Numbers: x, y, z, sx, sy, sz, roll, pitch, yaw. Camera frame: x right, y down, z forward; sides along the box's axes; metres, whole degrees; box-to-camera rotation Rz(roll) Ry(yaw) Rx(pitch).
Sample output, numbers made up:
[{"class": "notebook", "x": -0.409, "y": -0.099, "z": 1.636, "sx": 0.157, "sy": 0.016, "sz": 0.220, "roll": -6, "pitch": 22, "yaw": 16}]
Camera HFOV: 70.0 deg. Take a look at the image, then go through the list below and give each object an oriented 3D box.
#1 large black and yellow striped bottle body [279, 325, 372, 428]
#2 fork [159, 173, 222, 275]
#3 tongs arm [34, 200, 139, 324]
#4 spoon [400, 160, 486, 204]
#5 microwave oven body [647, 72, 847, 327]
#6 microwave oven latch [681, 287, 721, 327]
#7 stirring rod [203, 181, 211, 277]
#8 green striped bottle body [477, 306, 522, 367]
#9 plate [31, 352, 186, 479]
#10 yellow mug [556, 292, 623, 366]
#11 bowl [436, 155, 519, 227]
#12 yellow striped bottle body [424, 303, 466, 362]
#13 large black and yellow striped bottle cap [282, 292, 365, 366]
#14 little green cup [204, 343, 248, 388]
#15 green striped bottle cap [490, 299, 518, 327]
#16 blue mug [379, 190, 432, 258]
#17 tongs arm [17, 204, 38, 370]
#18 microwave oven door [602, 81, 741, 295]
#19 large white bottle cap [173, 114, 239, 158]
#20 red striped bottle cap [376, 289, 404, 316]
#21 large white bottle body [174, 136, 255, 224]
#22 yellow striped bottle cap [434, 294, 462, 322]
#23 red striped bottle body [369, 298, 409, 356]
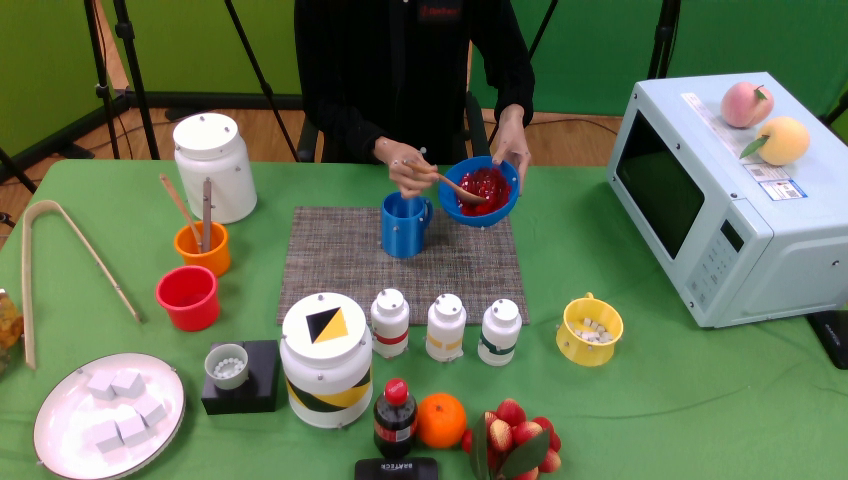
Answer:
[{"class": "large black and yellow striped bottle body", "x": -0.143, "y": 0.181, "z": 0.900, "sx": 0.131, "sy": 0.185, "sz": 0.130, "roll": 2, "pitch": 46, "yaw": -2}, {"class": "fork", "x": -0.427, "y": -0.029, "z": 1.103, "sx": 0.028, "sy": 0.018, "sz": 0.207, "roll": -31, "pitch": 99, "yaw": -30}, {"class": "tongs arm", "x": -0.622, "y": 0.034, "z": 1.105, "sx": 0.051, "sy": 0.026, "sz": 0.382, "roll": -32, "pitch": 55, "yaw": -26}, {"class": "spoon", "x": 0.035, "y": -0.102, "z": 1.073, "sx": 0.195, "sy": 0.041, "sz": 0.021, "roll": 26, "pitch": 76, "yaw": -32}, {"class": "microwave oven body", "x": 0.607, "y": -0.089, "z": 1.164, "sx": 0.326, "sy": 0.261, "sz": 0.438, "roll": -7, "pitch": 46, "yaw": -10}, {"class": "microwave oven latch", "x": 0.494, "y": 0.119, "z": 1.087, "sx": 0.030, "sy": 0.029, "sz": 0.078, "roll": -6, "pitch": 46, "yaw": -9}, {"class": "stirring rod", "x": -0.396, "y": -0.021, "z": 1.107, "sx": 0.014, "sy": 0.006, "sz": 0.176, "roll": -1, "pitch": 89, "yaw": -1}, {"class": "green striped bottle body", "x": 0.124, "y": 0.151, "z": 0.995, "sx": 0.063, "sy": 0.120, "sz": 0.063, "roll": 2, "pitch": 46, "yaw": -2}, {"class": "plate", "x": -0.459, "y": 0.262, "z": 0.898, "sx": 0.209, "sy": 0.038, "sz": 0.208, "roll": 2, "pitch": 45, "yaw": -2}, {"class": "yellow mug", "x": 0.285, "y": 0.146, "z": 1.051, "sx": 0.100, "sy": 0.064, "sz": 0.130, "roll": 8, "pitch": 45, "yaw": 3}, {"class": "bowl", "x": 0.104, "y": -0.076, "z": 1.116, "sx": 0.151, "sy": 0.077, "sz": 0.150, "roll": -8, "pitch": 52, "yaw": 11}, {"class": "yellow striped bottle body", "x": 0.035, "y": 0.143, "z": 0.995, "sx": 0.063, "sy": 0.121, "sz": 0.062, "roll": 3, "pitch": 46, "yaw": -3}, {"class": "large black and yellow striped bottle cap", "x": -0.139, "y": 0.121, "z": 0.841, "sx": 0.115, "sy": 0.019, "sz": 0.114, "roll": 3, "pitch": 47, "yaw": -3}, {"class": "little green cup", "x": -0.294, "y": 0.190, "z": 0.909, "sx": 0.061, "sy": 0.039, "sz": 0.061, "roll": 1, "pitch": 48, "yaw": 0}, {"class": "green striped bottle cap", "x": 0.127, "y": 0.115, "z": 0.958, "sx": 0.044, "sy": 0.020, "sz": 0.044, "roll": 3, "pitch": 48, "yaw": -3}, {"class": "blue mug", "x": -0.031, "y": -0.038, "z": 1.169, "sx": 0.116, "sy": 0.106, "sz": 0.082, "roll": -30, "pitch": 55, "yaw": -28}, {"class": "tongs arm", "x": -0.698, "y": 0.069, "z": 1.068, "sx": 0.028, "sy": 0.028, "sz": 0.385, "roll": -20, "pitch": 50, "yaw": -13}, {"class": "microwave oven door", "x": 0.456, "y": -0.107, "z": 1.162, "sx": 0.039, "sy": 0.245, "sz": 0.353, "roll": -7, "pitch": 47, "yaw": -10}, {"class": "large white bottle cap", "x": -0.403, "y": -0.195, "z": 1.122, "sx": 0.115, "sy": 0.018, "sz": 0.114, "roll": 2, "pitch": 47, "yaw": -2}, {"class": "red striped bottle cap", "x": -0.055, "y": 0.098, "z": 0.958, "sx": 0.044, "sy": 0.018, "sz": 0.044, "roll": 0, "pitch": 48, "yaw": 0}, {"class": "large white bottle body", "x": -0.408, "y": -0.137, "z": 1.183, "sx": 0.131, "sy": 0.185, "sz": 0.130, "roll": 2, "pitch": 46, "yaw": -2}, {"class": "yellow striped bottle cap", "x": 0.037, "y": 0.107, "z": 0.958, "sx": 0.044, "sy": 0.019, "sz": 0.044, "roll": 2, "pitch": 45, "yaw": -2}, {"class": "red striped bottle body", "x": -0.058, "y": 0.134, "z": 0.997, "sx": 0.063, "sy": 0.120, "sz": 0.062, "roll": 4, "pitch": 47, "yaw": -4}]
